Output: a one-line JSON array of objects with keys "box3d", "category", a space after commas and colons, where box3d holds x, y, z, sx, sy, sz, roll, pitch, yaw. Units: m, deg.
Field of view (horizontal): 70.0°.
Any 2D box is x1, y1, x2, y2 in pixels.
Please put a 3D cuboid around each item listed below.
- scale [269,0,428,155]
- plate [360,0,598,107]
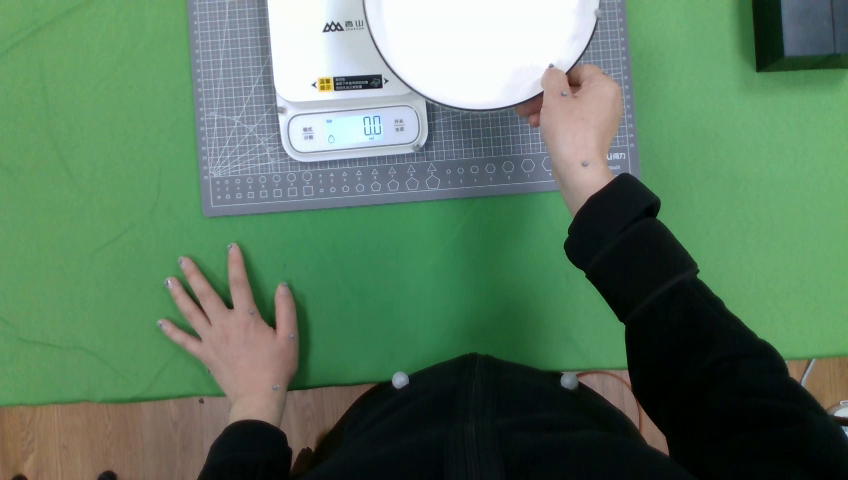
[{"box3d": [-0.077, -0.191, 0.608, 0.149, 0.031, 0.200, -5, 90, 0], "category": "scale"}, {"box3d": [0.048, -0.219, 0.540, 0.209, 0.038, 0.209, 0, 90, 2], "category": "plate"}]
